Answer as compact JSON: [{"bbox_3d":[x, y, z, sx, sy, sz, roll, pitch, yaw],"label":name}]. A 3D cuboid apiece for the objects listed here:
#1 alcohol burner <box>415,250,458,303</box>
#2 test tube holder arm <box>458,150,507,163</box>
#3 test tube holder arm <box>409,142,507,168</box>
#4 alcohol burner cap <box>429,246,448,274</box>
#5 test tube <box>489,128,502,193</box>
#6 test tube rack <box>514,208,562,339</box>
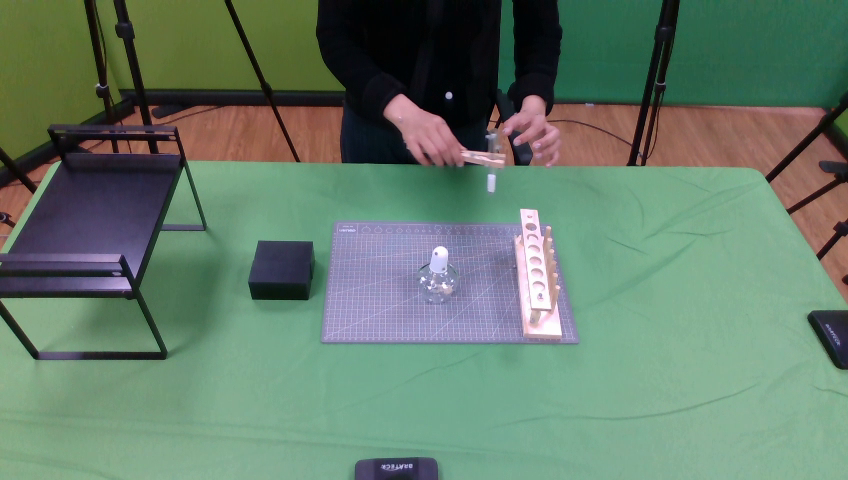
[{"bbox_3d":[0.024,0.057,1.078,0.078,0.119,0.077,3,44,-2],"label":"alcohol burner"},{"bbox_3d":[0.103,-0.148,1.068,0.088,0.015,0.010,5,49,6],"label":"test tube holder arm"},{"bbox_3d":[0.058,-0.151,1.072,0.178,0.015,0.013,11,49,11],"label":"test tube holder arm"},{"bbox_3d":[0.027,0.032,1.052,0.034,0.048,0.033,4,41,-3],"label":"alcohol burner cap"},{"bbox_3d":[0.125,-0.137,1.067,0.017,0.151,0.017,-1,51,2],"label":"test tube"},{"bbox_3d":[0.212,0.056,1.113,0.067,0.085,0.241,3,46,-1],"label":"test tube rack"}]
